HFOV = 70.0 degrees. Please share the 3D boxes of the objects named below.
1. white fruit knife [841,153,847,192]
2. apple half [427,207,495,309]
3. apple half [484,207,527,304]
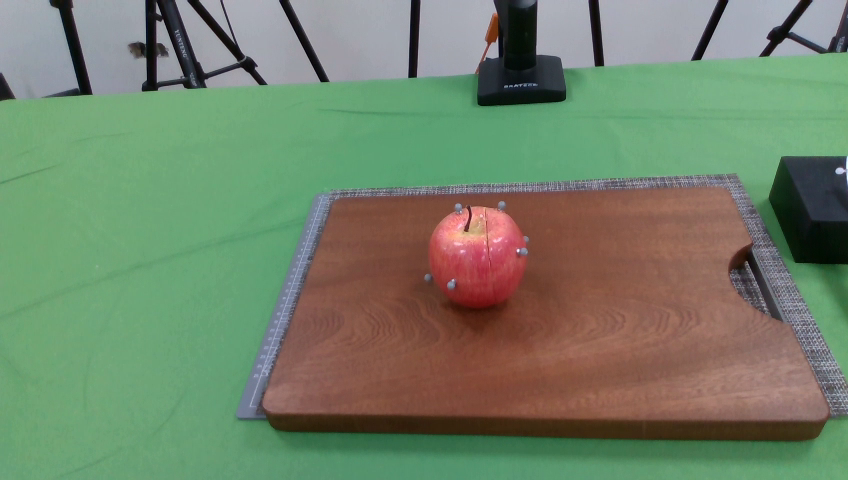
[{"bbox_3d":[0.370,0.012,0.493,0.027,0.016,0.205,0,60,9],"label":"white fruit knife"},{"bbox_3d":[0.030,0.017,0.502,0.053,0.075,0.080,-7,44,8],"label":"apple half"},{"bbox_3d":[0.069,0.013,0.499,0.033,0.082,0.080,-7,40,7],"label":"apple half"}]
